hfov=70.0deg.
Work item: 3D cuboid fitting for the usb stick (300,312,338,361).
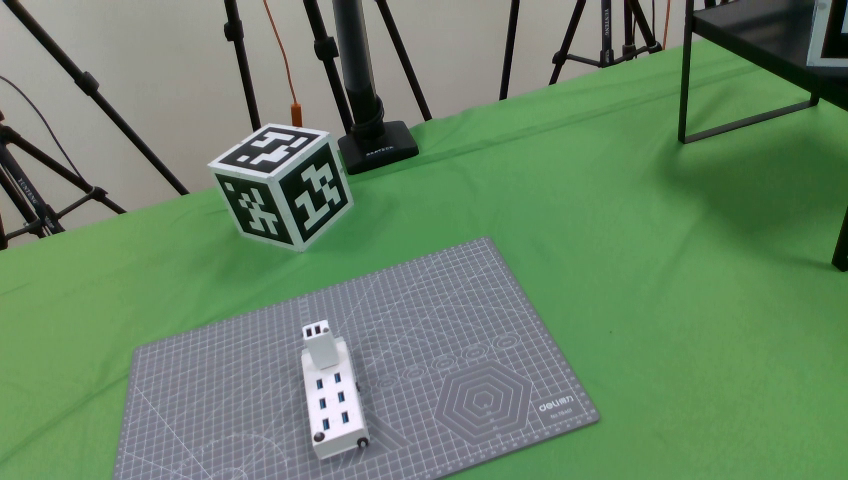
[{"bbox_3d":[-0.103,0.102,0.606,0.027,0.060,0.021,-21,40,-7],"label":"usb stick"}]

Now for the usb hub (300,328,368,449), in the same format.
[{"bbox_3d":[-0.092,0.143,0.599,0.049,0.025,0.123,-18,38,-5],"label":"usb hub"}]
